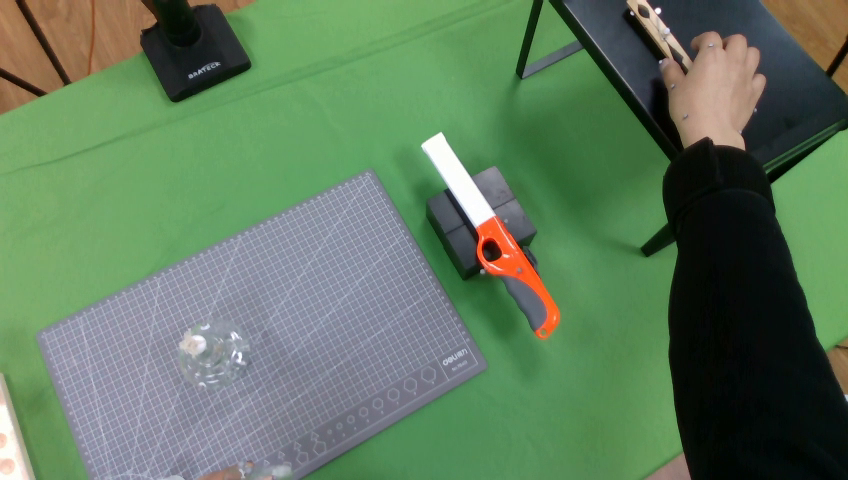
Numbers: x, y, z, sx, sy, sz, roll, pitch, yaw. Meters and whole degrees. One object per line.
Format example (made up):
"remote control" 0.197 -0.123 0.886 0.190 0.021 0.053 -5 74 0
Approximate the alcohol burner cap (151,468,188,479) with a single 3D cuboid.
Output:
"alcohol burner cap" -0.278 0.263 0.651 0.034 0.048 0.033 1 72 -2

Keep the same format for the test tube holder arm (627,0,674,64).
"test tube holder arm" 0.247 -0.227 0.652 0.010 0.015 0.087 -36 77 24

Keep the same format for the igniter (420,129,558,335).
"igniter" 0.077 -0.014 0.712 0.057 0.025 0.275 -31 75 1

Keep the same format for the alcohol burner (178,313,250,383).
"alcohol burner" -0.234 0.116 0.662 0.078 0.119 0.077 1 73 -1

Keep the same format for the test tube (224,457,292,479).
"test tube" -0.141 0.199 0.530 0.017 0.151 0.017 -1 71 3

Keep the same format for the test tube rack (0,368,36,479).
"test tube rack" -0.465 0.251 0.629 0.067 0.085 0.241 -26 75 -10

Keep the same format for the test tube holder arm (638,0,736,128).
"test tube holder arm" 0.274 -0.193 0.640 0.013 0.015 0.177 -37 76 23
